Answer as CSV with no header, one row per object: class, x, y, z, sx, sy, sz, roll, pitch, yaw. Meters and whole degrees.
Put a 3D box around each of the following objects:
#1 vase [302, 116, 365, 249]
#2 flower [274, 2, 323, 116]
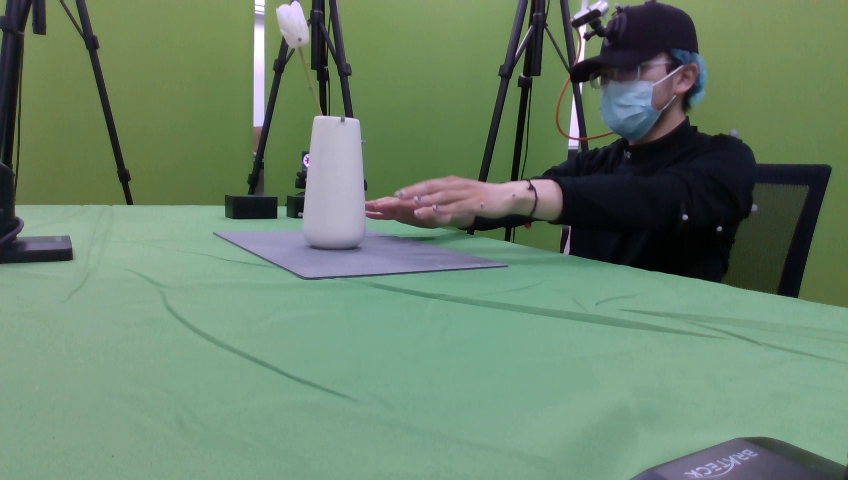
vase,-0.139,-0.088,0.930,0.098,0.200,0.098,1,9,0
flower,-0.151,-0.168,0.913,0.038,0.362,0.044,-6,19,28
